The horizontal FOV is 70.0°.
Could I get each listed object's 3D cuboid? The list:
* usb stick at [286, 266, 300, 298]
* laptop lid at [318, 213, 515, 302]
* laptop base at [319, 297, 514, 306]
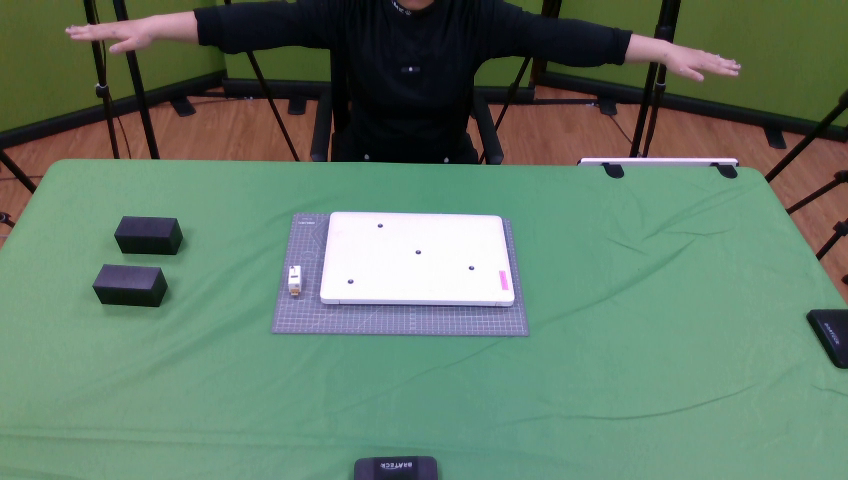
[{"bbox_3d":[-0.237,0.077,1.097,0.021,0.027,0.059,-2,49,-6],"label":"usb stick"},{"bbox_3d":[-0.014,0.027,1.156,0.357,0.013,0.240,2,43,-2],"label":"laptop lid"},{"bbox_3d":[-0.015,0.037,1.162,0.354,0.023,0.234,1,42,-3],"label":"laptop base"}]
